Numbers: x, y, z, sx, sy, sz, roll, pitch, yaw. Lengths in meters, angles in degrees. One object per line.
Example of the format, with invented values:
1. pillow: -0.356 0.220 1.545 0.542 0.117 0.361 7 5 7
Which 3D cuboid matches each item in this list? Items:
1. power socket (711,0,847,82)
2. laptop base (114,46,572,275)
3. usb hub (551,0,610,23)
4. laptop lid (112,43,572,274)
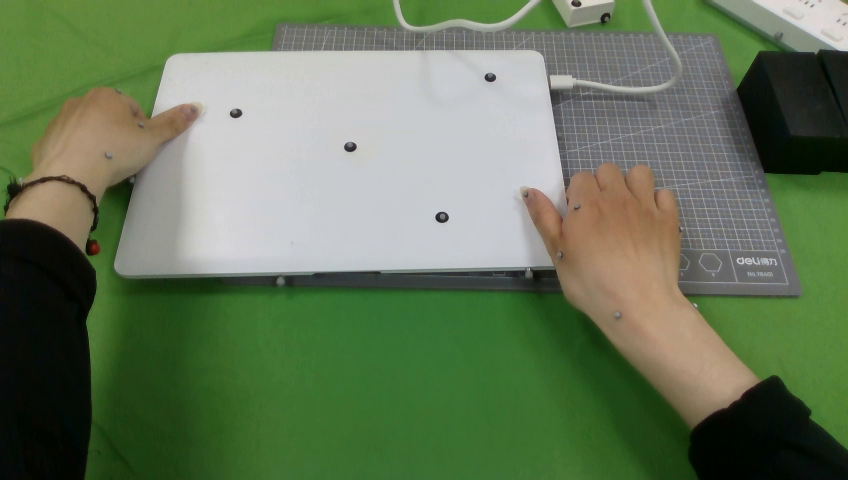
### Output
1. power socket: 0.387 -0.227 0.613 0.072 0.033 0.225 -36 66 -21
2. laptop base: -0.064 -0.076 0.523 0.354 0.023 0.233 -1 62 -1
3. usb hub: 0.150 -0.285 0.647 0.049 0.025 0.124 -14 60 -9
4. laptop lid: -0.064 -0.080 0.512 0.357 0.013 0.239 0 61 0
